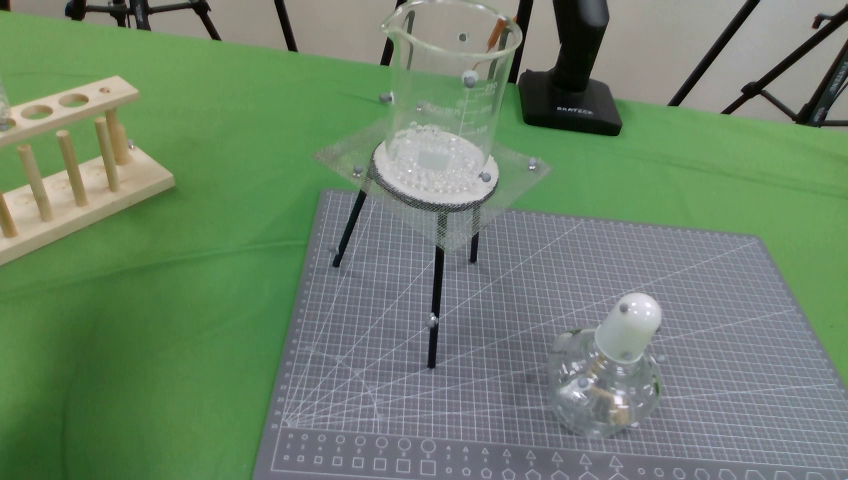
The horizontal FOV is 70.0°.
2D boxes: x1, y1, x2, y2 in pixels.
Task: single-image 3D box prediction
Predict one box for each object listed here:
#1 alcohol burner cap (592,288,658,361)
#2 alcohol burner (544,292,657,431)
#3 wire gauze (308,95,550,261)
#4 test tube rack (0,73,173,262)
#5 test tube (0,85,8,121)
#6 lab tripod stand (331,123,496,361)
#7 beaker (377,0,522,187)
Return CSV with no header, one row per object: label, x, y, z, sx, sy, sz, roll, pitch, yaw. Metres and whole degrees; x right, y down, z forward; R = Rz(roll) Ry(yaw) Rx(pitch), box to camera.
alcohol burner cap,0.129,0.051,0.382,0.034,0.048,0.033,5,46,-5
alcohol burner,0.124,0.076,0.408,0.078,0.120,0.077,7,42,-6
wire gauze,0.006,-0.053,0.411,0.124,0.011,0.121,37,51,20
test tube rack,-0.328,-0.044,0.471,0.066,0.086,0.242,34,47,23
test tube,-0.308,-0.147,0.410,0.017,0.151,0.017,9,41,-7
lab tripod stand,-0.001,-0.006,0.455,0.149,0.132,0.147,7,43,-6
beaker,0.009,-0.090,0.379,0.084,0.101,0.073,2,44,-9
